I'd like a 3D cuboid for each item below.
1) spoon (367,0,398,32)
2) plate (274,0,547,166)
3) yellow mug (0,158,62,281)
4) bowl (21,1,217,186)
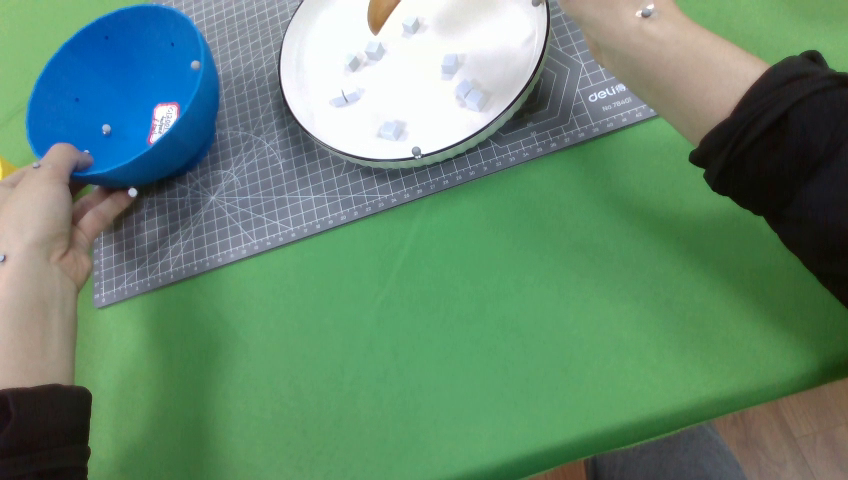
[{"bbox_3d":[0.026,-0.189,0.359,0.193,0.022,0.041,-28,47,35],"label":"spoon"},{"bbox_3d":[-0.011,-0.145,0.459,0.209,0.038,0.207,-5,68,13],"label":"plate"},{"bbox_3d":[-0.365,-0.008,0.488,0.099,0.064,0.130,4,71,16],"label":"yellow mug"},{"bbox_3d":[-0.220,-0.100,0.476,0.151,0.077,0.150,-5,68,13],"label":"bowl"}]
